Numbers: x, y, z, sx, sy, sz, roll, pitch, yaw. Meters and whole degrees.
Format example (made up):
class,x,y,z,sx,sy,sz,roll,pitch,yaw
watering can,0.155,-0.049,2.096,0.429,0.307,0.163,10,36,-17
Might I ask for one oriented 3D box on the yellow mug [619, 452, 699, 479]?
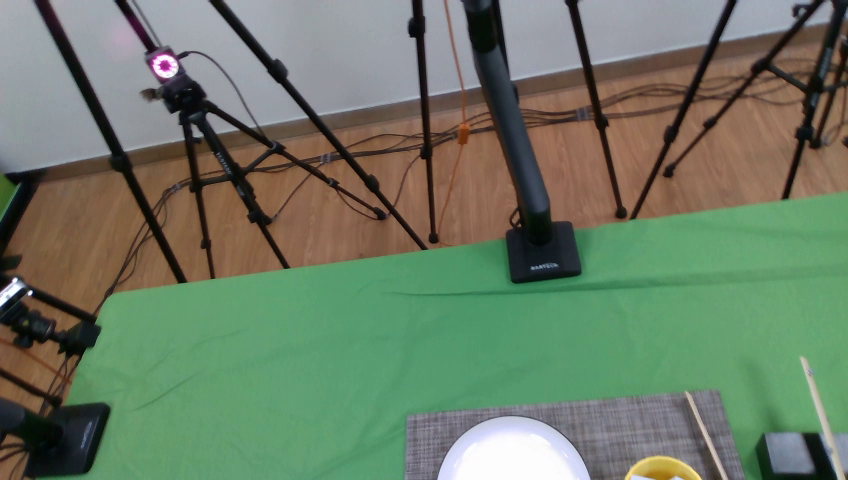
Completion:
class,x,y,z,sx,sy,sz,roll,pitch,yaw
yellow mug,0.282,0.334,0.743,0.099,0.064,0.130,20,61,28

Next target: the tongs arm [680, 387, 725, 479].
class,x,y,z,sx,sy,sz,roll,pitch,yaw
tongs arm,0.396,0.349,0.722,0.028,0.028,0.383,-30,47,19

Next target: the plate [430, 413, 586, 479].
class,x,y,z,sx,sy,sz,roll,pitch,yaw
plate,0.112,0.336,0.807,0.207,0.039,0.205,-7,51,10

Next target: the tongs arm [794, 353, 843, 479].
class,x,y,z,sx,sy,sz,roll,pitch,yaw
tongs arm,0.460,0.316,0.683,0.050,0.027,0.381,-22,51,31
